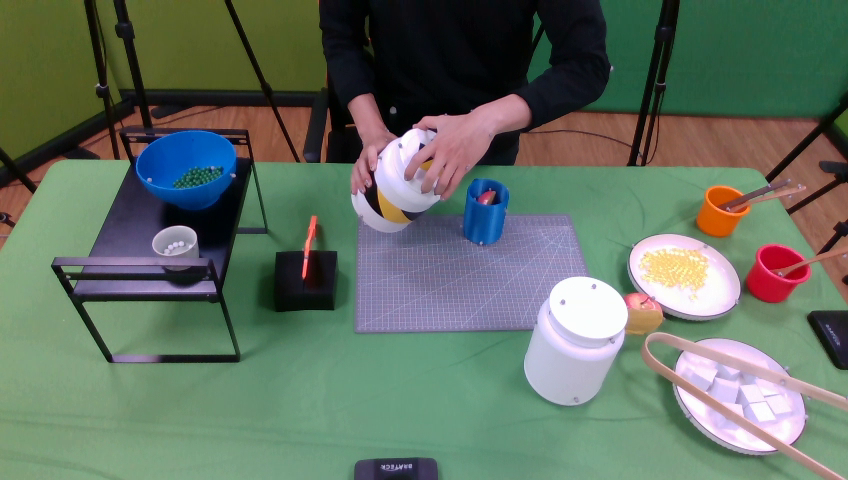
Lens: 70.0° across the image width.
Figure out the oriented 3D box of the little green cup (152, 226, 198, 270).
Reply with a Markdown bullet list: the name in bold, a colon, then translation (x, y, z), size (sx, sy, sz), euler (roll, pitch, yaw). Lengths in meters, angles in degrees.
- **little green cup**: translation (-0.364, 0.013, 0.894), size (0.061, 0.039, 0.061), euler (3, 46, -3)

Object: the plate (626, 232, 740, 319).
- **plate**: translation (0.488, 0.071, 1.157), size (0.209, 0.038, 0.208), euler (3, 46, -3)

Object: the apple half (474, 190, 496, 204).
- **apple half**: translation (0.109, -0.067, 1.200), size (0.032, 0.081, 0.081), euler (29, 51, 13)

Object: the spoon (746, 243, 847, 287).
- **spoon**: translation (0.702, 0.043, 1.126), size (0.194, 0.022, 0.041), euler (-29, 38, 30)

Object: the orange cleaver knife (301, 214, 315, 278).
- **orange cleaver knife**: translation (-0.217, 0.007, 1.131), size (0.012, 0.077, 0.210), euler (7, 19, -9)

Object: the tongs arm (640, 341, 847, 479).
- **tongs arm**: translation (0.500, 0.277, 0.920), size (0.386, 0.028, 0.028), euler (34, 59, 22)

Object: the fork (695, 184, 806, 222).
- **fork**: translation (0.658, -0.074, 1.230), size (0.207, 0.019, 0.028), euler (-24, 34, 36)

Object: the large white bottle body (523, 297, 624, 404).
- **large white bottle body**: translation (0.235, 0.159, 0.952), size (0.131, 0.185, 0.130), euler (2, 47, -2)

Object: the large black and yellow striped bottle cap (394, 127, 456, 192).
- **large black and yellow striped bottle cap**: translation (0.004, -0.136, 1.018), size (0.115, 0.019, 0.114), euler (14, 64, -29)

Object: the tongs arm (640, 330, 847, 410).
- **tongs arm**: translation (0.543, 0.225, 0.969), size (0.384, 0.026, 0.050), euler (22, 52, 13)

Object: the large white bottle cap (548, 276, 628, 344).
- **large white bottle cap**: translation (0.240, 0.100, 0.890), size (0.115, 0.018, 0.114), euler (3, 47, -3)

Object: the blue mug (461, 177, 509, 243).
- **blue mug**: translation (0.114, -0.069, 1.211), size (0.082, 0.106, 0.115), euler (-12, 48, -15)

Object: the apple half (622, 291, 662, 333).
- **apple half**: translation (0.372, 0.123, 1.074), size (0.081, 0.075, 0.053), euler (0, 43, 1)

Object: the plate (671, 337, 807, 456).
- **plate**: translation (0.504, 0.254, 0.984), size (0.208, 0.039, 0.206), euler (2, 46, -2)

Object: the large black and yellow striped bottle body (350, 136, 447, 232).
- **large black and yellow striped bottle body**: translation (-0.039, -0.105, 1.085), size (0.131, 0.184, 0.130), euler (14, 62, -28)

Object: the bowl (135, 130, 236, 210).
- **bowl**: translation (-0.375, -0.102, 0.977), size (0.151, 0.077, 0.150), euler (2, 46, -2)

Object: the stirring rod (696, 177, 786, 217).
- **stirring rod**: translation (0.648, -0.087, 1.244), size (0.176, 0.006, 0.014), euler (-25, 50, 29)
